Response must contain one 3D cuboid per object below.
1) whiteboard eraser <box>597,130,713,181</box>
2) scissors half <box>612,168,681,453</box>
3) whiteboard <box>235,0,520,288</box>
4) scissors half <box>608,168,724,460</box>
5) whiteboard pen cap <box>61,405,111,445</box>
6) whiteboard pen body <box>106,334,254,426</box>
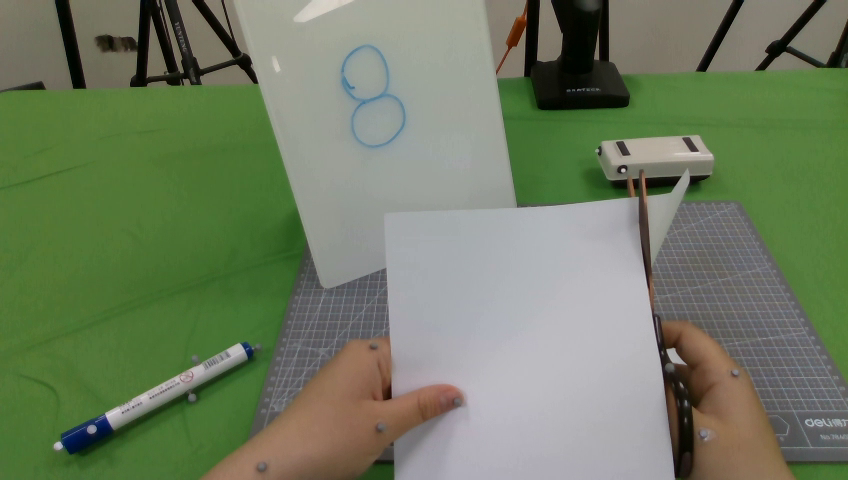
[{"bbox_3d":[0.252,-0.092,0.667,0.113,0.042,0.055,-2,43,0],"label":"whiteboard eraser"},{"bbox_3d":[0.130,0.042,0.370,0.013,0.175,0.040,-10,1,-21],"label":"scissors half"},{"bbox_3d":[-0.054,-0.147,0.593,0.217,0.307,0.142,-20,23,-18],"label":"whiteboard"},{"bbox_3d":[0.135,0.038,0.351,0.013,0.040,0.174,-11,74,-16],"label":"scissors half"},{"bbox_3d":[-0.246,0.134,0.444,0.033,0.018,0.018,-28,47,-28],"label":"whiteboard pen cap"},{"bbox_3d":[-0.199,0.112,0.471,0.141,0.017,0.017,-28,47,-28],"label":"whiteboard pen body"}]
